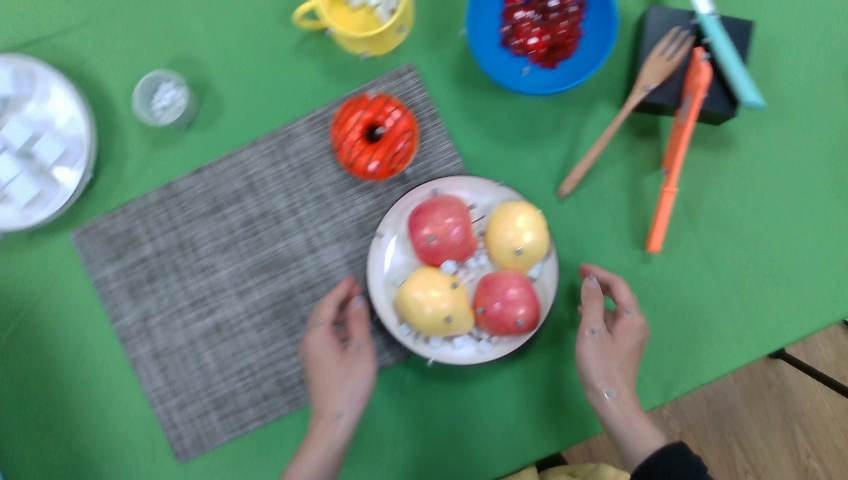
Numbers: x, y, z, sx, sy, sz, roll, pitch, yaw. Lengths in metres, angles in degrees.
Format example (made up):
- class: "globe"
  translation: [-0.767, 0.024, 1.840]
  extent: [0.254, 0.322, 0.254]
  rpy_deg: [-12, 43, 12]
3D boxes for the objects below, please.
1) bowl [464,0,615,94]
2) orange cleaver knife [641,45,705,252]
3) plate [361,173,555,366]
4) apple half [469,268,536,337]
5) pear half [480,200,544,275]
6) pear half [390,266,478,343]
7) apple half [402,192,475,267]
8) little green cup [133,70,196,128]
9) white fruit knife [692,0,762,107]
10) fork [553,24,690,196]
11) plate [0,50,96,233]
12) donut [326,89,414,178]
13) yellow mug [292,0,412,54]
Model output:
- class: "bowl"
  translation: [0.117, -0.222, 0.642]
  extent: [0.151, 0.077, 0.151]
  rpy_deg: [0, 90, 4]
- class: "orange cleaver knife"
  translation: [0.257, -0.092, 0.631]
  extent: [0.012, 0.077, 0.212]
  rpy_deg: [11, 116, 9]
- class: "plate"
  translation: [0.037, 0.032, 0.663]
  extent: [0.209, 0.038, 0.209]
  rpy_deg: [0, 90, 3]
- class: "apple half"
  translation: [0.076, 0.069, 0.643]
  extent: [0.081, 0.033, 0.081]
  rpy_deg: [3, 98, 26]
- class: "pear half"
  translation: [0.090, 0.001, 0.645]
  extent: [0.070, 0.031, 0.088]
  rpy_deg: [7, 100, 27]
- class: "pear half"
  translation: [0.017, 0.077, 0.650]
  extent: [0.110, 0.056, 0.076]
  rpy_deg: [37, 96, -1]
- class: "apple half"
  translation: [0.014, -0.010, 0.647]
  extent: [0.074, 0.053, 0.081]
  rpy_deg: [-9, 92, 5]
- class: "little green cup"
  translation: [-0.292, -0.157, 0.688]
  extent: [0.061, 0.038, 0.061]
  rpy_deg: [0, 90, 4]
- class: "white fruit knife"
  translation: [0.287, -0.226, 0.613]
  extent: [0.027, 0.016, 0.207]
  rpy_deg: [-23, 86, -26]
- class: "fork"
  translation: [0.199, -0.129, 0.632]
  extent: [0.028, 0.018, 0.208]
  rpy_deg: [32, 112, -4]
- class: "plate"
  translation: [-0.474, -0.111, 0.699]
  extent: [0.207, 0.039, 0.207]
  rpy_deg: [0, 90, 4]
- class: "donut"
  translation: [-0.059, -0.117, 0.666]
  extent: [0.099, 0.048, 0.099]
  rpy_deg: [0, 91, 6]
- class: "yellow mug"
  translation: [-0.081, -0.257, 0.661]
  extent: [0.131, 0.064, 0.100]
  rpy_deg: [-15, 89, 4]
